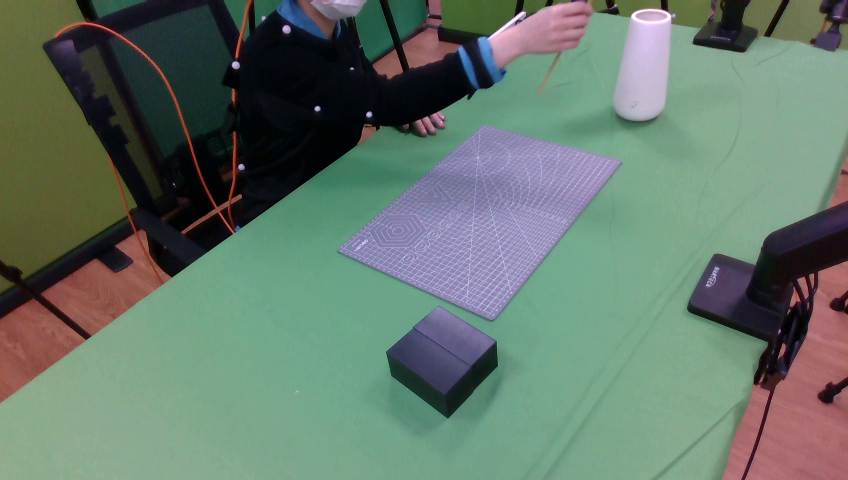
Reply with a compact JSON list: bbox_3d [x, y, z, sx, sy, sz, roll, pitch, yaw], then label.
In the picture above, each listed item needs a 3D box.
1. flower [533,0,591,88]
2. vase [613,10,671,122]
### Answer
[{"bbox_3d":[0.269,-0.392,0.990,0.044,0.361,0.038,-26,66,-40],"label":"flower"},{"bbox_3d":[0.419,-0.327,1.151,0.098,0.201,0.097,-4,42,4],"label":"vase"}]
